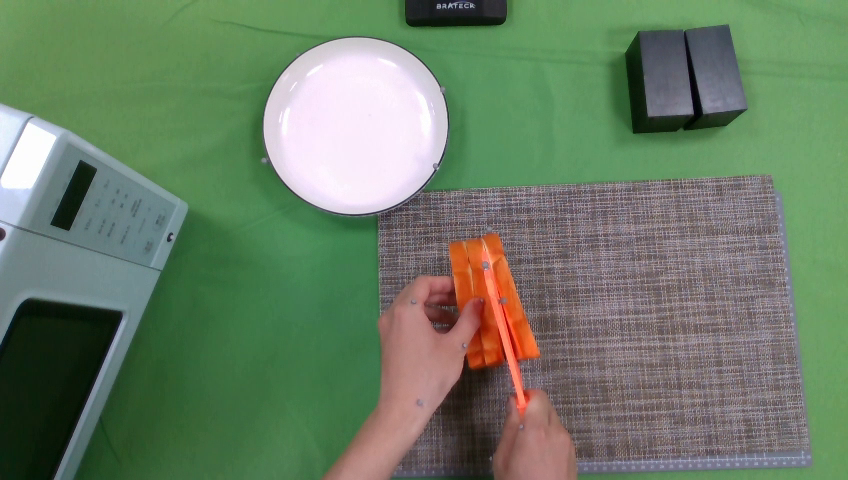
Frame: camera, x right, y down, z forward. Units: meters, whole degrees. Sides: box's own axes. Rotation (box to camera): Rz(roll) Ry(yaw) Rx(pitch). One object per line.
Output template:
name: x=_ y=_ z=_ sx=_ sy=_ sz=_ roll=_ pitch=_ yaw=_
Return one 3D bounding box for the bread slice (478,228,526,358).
bread slice: x=0.076 y=0.056 z=0.616 sx=0.018 sy=0.107 sz=0.134 roll=-11 pitch=81 yaw=0

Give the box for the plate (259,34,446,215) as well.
plate: x=-0.078 y=-0.127 z=0.683 sx=0.208 sy=0.039 sz=0.207 roll=0 pitch=81 yaw=0

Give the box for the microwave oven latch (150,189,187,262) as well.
microwave oven latch: x=-0.282 y=-0.018 z=0.648 sx=0.030 sy=0.029 sz=0.079 roll=21 pitch=82 yaw=3

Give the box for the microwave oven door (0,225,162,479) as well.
microwave oven door: x=-0.359 y=0.168 z=0.516 sx=0.039 sy=0.244 sz=0.355 roll=19 pitch=81 yaw=4

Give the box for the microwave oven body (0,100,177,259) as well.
microwave oven body: x=-0.483 y=0.082 z=0.535 sx=0.326 sy=0.261 sz=0.440 roll=19 pitch=82 yaw=3

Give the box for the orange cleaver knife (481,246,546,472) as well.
orange cleaver knife: x=0.082 y=0.109 z=0.560 sx=0.012 sy=0.077 sz=0.212 roll=-15 pitch=101 yaw=9
